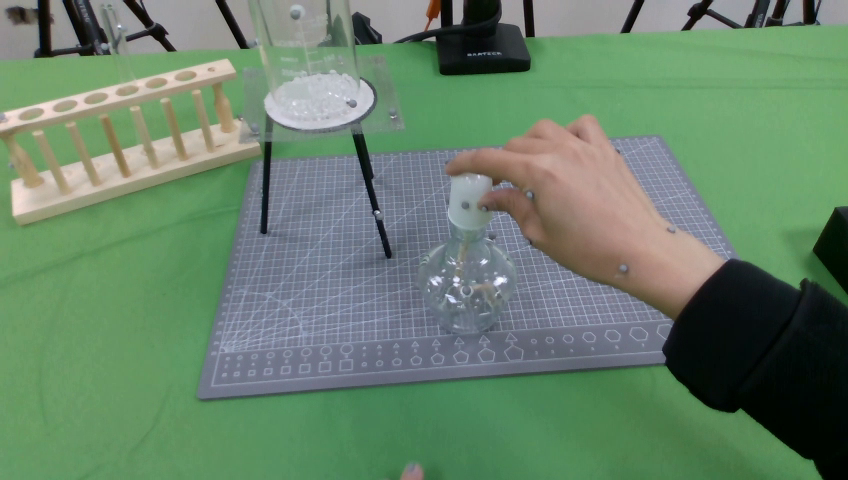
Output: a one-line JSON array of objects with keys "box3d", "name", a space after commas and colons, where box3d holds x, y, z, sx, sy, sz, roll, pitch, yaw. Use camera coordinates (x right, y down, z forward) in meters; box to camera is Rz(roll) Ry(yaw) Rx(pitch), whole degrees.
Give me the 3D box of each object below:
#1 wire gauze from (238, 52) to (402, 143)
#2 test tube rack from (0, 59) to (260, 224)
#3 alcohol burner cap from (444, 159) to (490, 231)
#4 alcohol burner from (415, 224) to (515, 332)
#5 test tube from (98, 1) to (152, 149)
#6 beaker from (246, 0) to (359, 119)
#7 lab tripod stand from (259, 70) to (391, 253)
[{"box3d": [-0.086, -0.115, 0.488, 0.125, 0.011, 0.120, -10, 42, -4], "name": "wire gauze"}, {"box3d": [-0.302, -0.105, 0.618, 0.243, 0.086, 0.066, -21, 46, -19], "name": "test tube rack"}, {"box3d": [0.030, -0.033, 0.413, 0.034, 0.048, 0.033, 0, 48, 1], "name": "alcohol burner cap"}, {"box3d": [0.031, 0.013, 0.458, 0.078, 0.120, 0.077, -1, 41, 1], "name": "alcohol burner"}, {"box3d": [-0.295, -0.158, 0.602, 0.017, 0.151, 0.017, 2, 37, -1], "name": "test tube"}, {"box3d": [-0.091, -0.149, 0.452, 0.084, 0.101, 0.073, -3, 43, 1], "name": "beaker"}, {"box3d": [-0.085, -0.068, 0.533, 0.148, 0.133, 0.147, -1, 45, 2], "name": "lab tripod stand"}]
